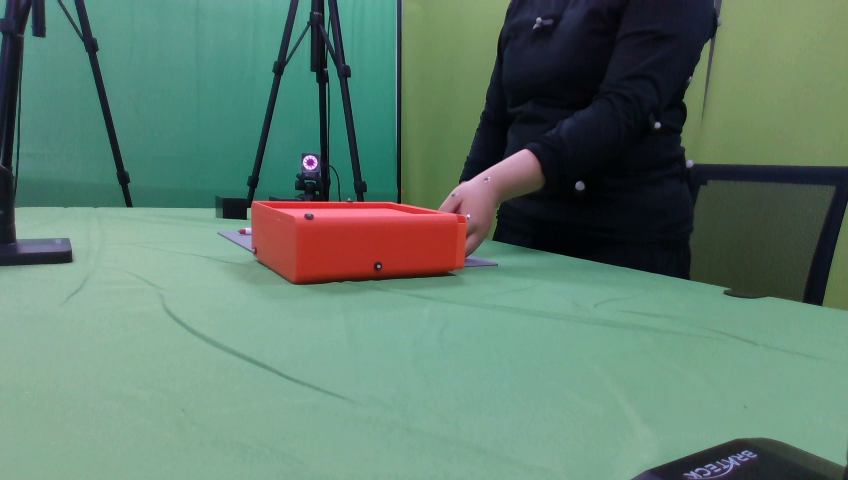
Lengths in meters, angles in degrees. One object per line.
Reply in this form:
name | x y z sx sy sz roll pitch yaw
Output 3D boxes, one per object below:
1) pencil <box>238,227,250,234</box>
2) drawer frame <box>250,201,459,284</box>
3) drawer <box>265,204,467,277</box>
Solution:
pencil | -0.240 -0.015 1.104 0.195 0.012 0.012 1 7 -29
drawer frame | -0.095 -0.005 0.788 0.215 0.082 0.200 -3 10 -30
drawer | -0.082 -0.005 0.796 0.213 0.073 0.193 -3 10 -29
